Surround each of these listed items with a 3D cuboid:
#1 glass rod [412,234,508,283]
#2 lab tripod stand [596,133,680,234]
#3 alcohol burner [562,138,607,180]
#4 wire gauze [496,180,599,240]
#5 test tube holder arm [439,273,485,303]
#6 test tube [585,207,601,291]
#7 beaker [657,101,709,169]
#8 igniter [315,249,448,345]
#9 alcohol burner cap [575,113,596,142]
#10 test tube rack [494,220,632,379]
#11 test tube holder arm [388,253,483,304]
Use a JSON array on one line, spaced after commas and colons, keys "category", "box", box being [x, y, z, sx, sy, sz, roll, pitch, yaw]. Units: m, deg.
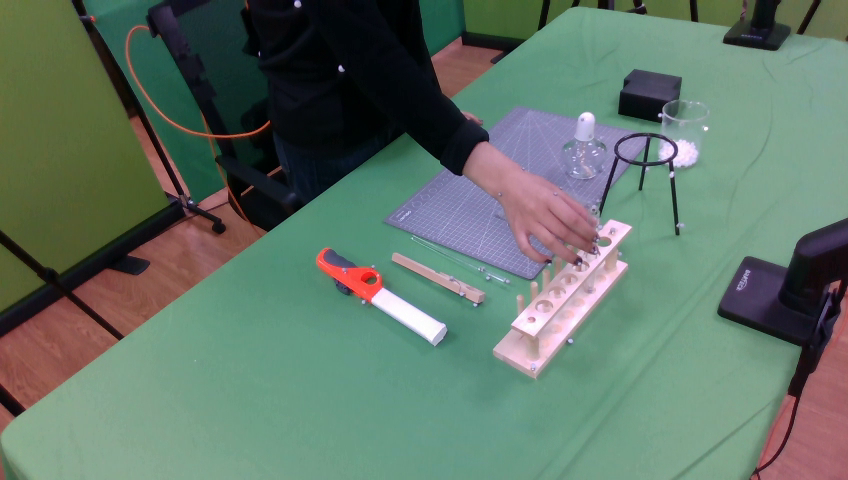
[{"category": "glass rod", "box": [0.052, 0.028, 0.951, 0.198, 0.008, 0.008, 26, 52, 37]}, {"category": "lab tripod stand", "box": [0.338, -0.090, 0.940, 0.148, 0.132, 0.147, -7, 39, 6]}, {"category": "alcohol burner", "box": [0.280, -0.166, 1.052, 0.078, 0.119, 0.077, -5, 38, 4]}, {"category": "wire gauze", "box": [0.206, -0.050, 1.012, 0.125, 0.011, 0.120, -34, 45, -26]}, {"category": "test tube holder arm", "box": [0.052, 0.071, 0.896, 0.087, 0.015, 0.010, 23, 12, 33]}, {"category": "test tube", "box": [0.222, 0.016, 0.797, 0.017, 0.151, 0.017, -6, 45, 7]}, {"category": "beaker", "box": [0.449, -0.183, 1.054, 0.073, 0.101, 0.084, 15, 46, 27]}, {"category": "igniter", "box": [-0.074, 0.078, 0.902, 0.274, 0.025, 0.057, 28, 63, 36]}, {"category": "alcohol burner cap", "box": [0.277, -0.194, 1.028, 0.034, 0.048, 0.033, -2, 45, 2]}, {"category": "test tube rack", "box": [0.191, 0.068, 0.818, 0.066, 0.085, 0.243, 25, 51, 35]}, {"category": "test tube holder arm", "box": [0.014, 0.056, 0.915, 0.177, 0.015, 0.013, 23, 12, 32]}]
